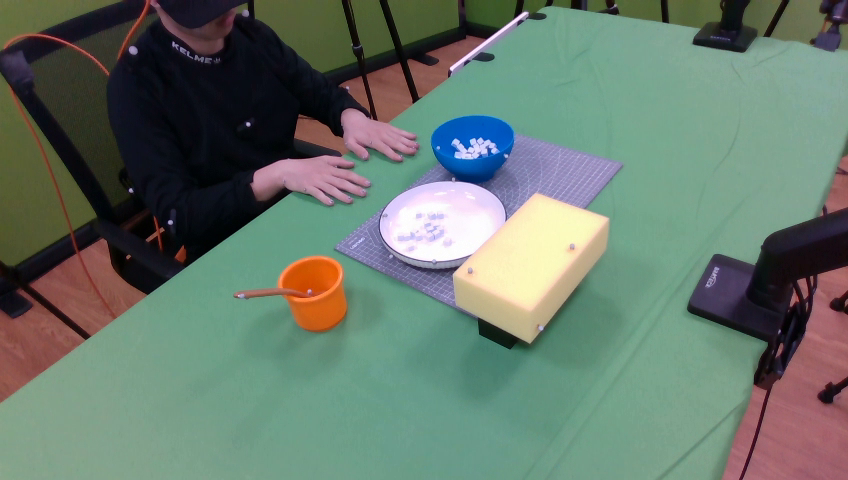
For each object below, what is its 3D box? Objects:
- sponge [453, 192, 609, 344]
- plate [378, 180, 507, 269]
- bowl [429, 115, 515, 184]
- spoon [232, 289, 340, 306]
[{"bbox_3d":[0.147,0.029,0.808,0.117,0.061,0.207,23,50,31],"label":"sponge"},{"bbox_3d":[0.031,-0.022,0.974,0.209,0.038,0.208,-4,40,4],"label":"plate"},{"bbox_3d":[0.089,-0.154,1.088,0.151,0.077,0.150,-4,40,4],"label":"bowl"},{"bbox_3d":[-0.181,0.075,0.812,0.041,0.195,0.021,16,90,31],"label":"spoon"}]
